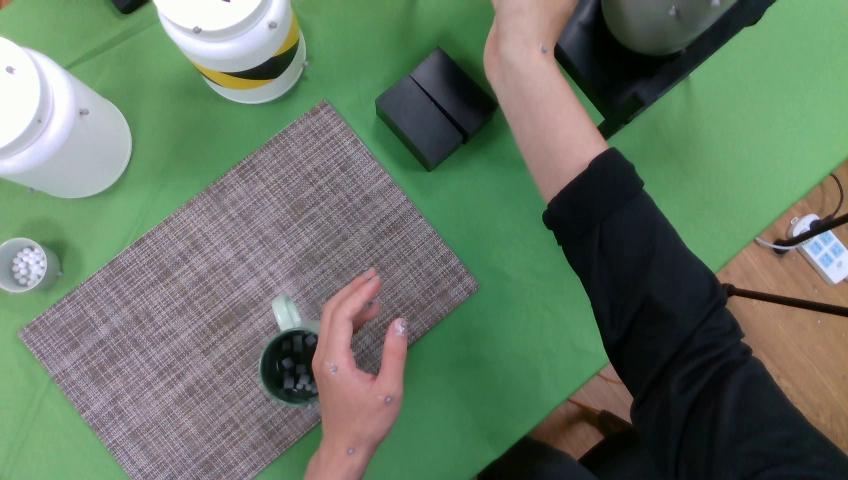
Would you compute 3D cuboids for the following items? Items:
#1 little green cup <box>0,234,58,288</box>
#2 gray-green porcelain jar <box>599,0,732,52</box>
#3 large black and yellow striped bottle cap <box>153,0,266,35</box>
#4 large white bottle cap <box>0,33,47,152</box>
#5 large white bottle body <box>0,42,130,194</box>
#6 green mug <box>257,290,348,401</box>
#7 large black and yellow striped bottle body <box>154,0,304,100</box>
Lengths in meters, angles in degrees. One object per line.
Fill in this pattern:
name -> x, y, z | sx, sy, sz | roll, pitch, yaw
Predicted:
little green cup -> -0.454, 0.025, 0.691 | 0.061, 0.038, 0.061 | 0, 85, -4
gray-green porcelain jar -> 0.220, -0.234, 0.534 | 0.106, 0.126, 0.105 | 0, 84, -3
large black and yellow striped bottle cap -> -0.206, -0.254, 0.577 | 0.115, 0.019, 0.114 | 1, 84, -4
large white bottle cap -> -0.407, -0.136, 0.552 | 0.115, 0.018, 0.114 | 0, 85, -3
large white bottle body -> -0.412, -0.127, 0.635 | 0.131, 0.185, 0.130 | 0, 84, -3
green mug -> -0.139, 0.114, 0.666 | 0.092, 0.105, 0.125 | -22, 85, -5
large black and yellow striped bottle body -> -0.209, -0.243, 0.660 | 0.131, 0.184, 0.130 | 0, 84, -3
